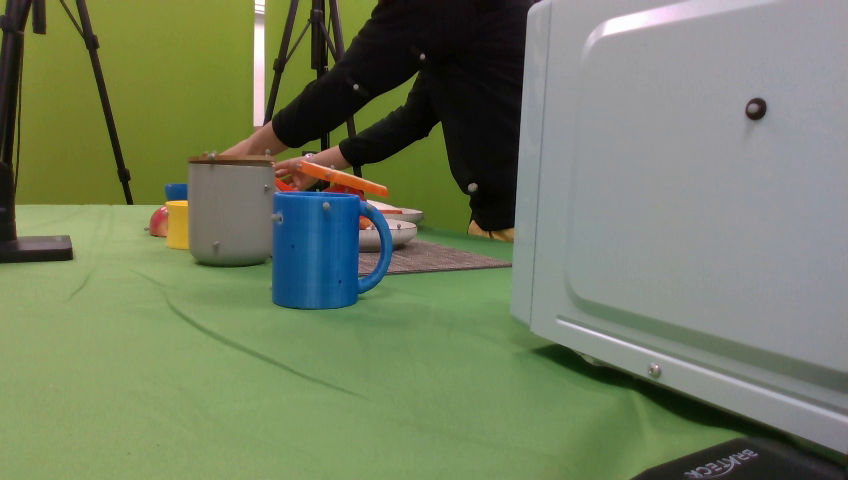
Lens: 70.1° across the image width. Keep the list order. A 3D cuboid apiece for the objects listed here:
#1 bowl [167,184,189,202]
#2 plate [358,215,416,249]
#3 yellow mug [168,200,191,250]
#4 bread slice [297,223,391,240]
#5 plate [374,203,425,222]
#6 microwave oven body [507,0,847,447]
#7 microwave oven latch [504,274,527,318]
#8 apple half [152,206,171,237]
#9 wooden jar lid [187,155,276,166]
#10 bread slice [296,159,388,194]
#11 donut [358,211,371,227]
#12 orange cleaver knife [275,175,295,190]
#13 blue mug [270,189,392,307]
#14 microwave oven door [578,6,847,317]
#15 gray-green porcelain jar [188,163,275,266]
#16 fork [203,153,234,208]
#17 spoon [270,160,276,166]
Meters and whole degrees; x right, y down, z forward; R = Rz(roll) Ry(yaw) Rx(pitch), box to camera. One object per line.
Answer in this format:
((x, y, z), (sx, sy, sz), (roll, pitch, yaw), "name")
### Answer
((-0.408, -0.064, 1.154), (0.151, 0.077, 0.151), (2, 8, 0), "bowl")
((-0.116, -0.014, 0.967), (0.208, 0.039, 0.207), (2, 7, 0), "plate")
((-0.320, -0.022, 0.904), (0.130, 0.064, 0.100), (8, 10, 36), "yellow mug")
((-0.121, -0.015, 0.970), (0.106, 0.018, 0.135), (9, 8, 40), "bread slice")
((-0.102, -0.053, 1.299), (0.209, 0.038, 0.209), (2, 8, 0), "plate")
((0.331, -0.042, 0.425), (0.444, 0.260, 0.324), (-2, 8, -31), "microwave oven body")
((0.100, 0.041, 0.472), (0.079, 0.029, 0.030), (-2, 8, -29), "microwave oven latch")
((-0.415, -0.034, 1.017), (0.081, 0.053, 0.074), (1, 10, -8), "apple half")
((-0.244, -0.097, 0.771), (0.108, 0.020, 0.108), (-1, 7, 0), "wooden jar lid")
((-0.132, -0.102, 0.952), (0.132, 0.019, 0.104), (13, 6, -36), "bread slice")
((-0.129, -0.042, 0.956), (0.099, 0.048, 0.099), (2, 7, 0), "donut")
((-0.283, -0.087, 1.343), (0.212, 0.077, 0.012), (24, -17, -41), "orange cleaver knife")
((-0.089, 0.005, 0.588), (0.117, 0.106, 0.082), (0, 7, -10), "blue mug")
((0.294, -0.067, 0.570), (0.358, 0.243, 0.039), (-3, 9, -31), "microwave oven door")
((-0.247, -0.034, 0.780), (0.106, 0.126, 0.106), (2, 7, 0), "gray-green porcelain jar")
((-0.480, -0.134, 1.411), (0.028, 0.018, 0.207), (1, -35, 0), "fork")
((-0.396, -0.151, 1.548), (0.042, 0.193, 0.021), (3, -37, -4), "spoon")
